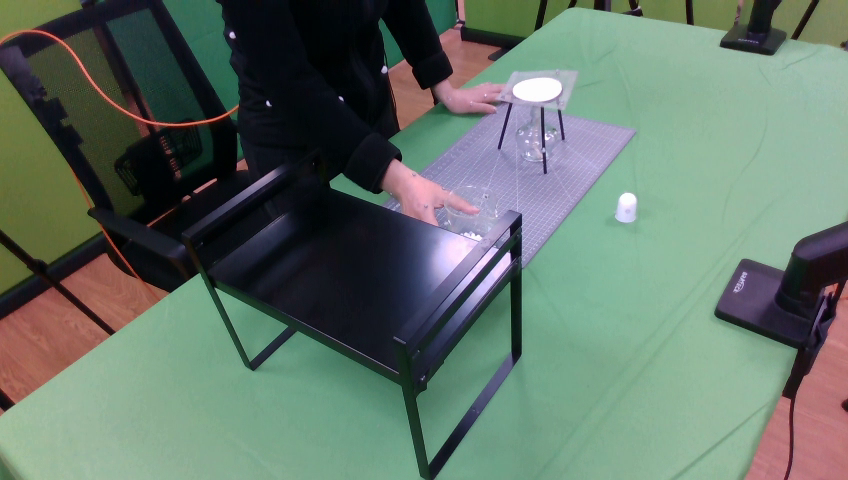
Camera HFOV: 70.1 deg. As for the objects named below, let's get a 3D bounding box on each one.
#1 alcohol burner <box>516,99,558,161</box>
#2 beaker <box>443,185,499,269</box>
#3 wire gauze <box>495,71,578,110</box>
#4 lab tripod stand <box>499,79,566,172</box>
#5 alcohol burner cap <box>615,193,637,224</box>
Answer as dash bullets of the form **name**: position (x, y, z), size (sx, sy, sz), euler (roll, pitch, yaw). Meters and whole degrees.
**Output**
- **alcohol burner**: position (0.208, -0.206, 1.110), size (0.078, 0.119, 0.077), euler (-3, 41, 3)
- **beaker**: position (0.071, -0.015, 0.845), size (0.074, 0.101, 0.083), euler (-35, 48, -28)
- **wire gauze**: position (0.199, -0.268, 1.065), size (0.124, 0.011, 0.121), euler (10, 44, 22)
- **lab tripod stand**: position (0.204, -0.215, 1.107), size (0.148, 0.132, 0.147), euler (-6, 41, 5)
- **alcohol burner cap**: position (0.327, -0.054, 0.974), size (0.034, 0.048, 0.033), euler (-4, 38, 4)
